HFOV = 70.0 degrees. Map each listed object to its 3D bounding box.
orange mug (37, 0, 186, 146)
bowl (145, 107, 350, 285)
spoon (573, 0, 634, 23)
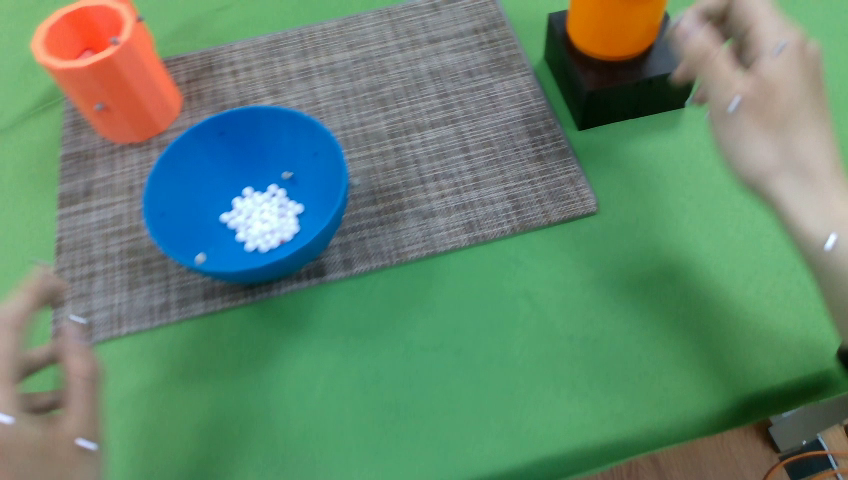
[{"bbox_3d":[-0.280,-0.166,0.560,0.083,0.101,0.125,-4,64,3],"label":"orange mug"},{"bbox_3d":[-0.126,-0.022,0.475,0.151,0.077,0.150,-2,59,3],"label":"bowl"},{"bbox_3d":[0.196,-0.215,0.466,0.022,0.193,0.041,42,58,-21],"label":"spoon"}]
